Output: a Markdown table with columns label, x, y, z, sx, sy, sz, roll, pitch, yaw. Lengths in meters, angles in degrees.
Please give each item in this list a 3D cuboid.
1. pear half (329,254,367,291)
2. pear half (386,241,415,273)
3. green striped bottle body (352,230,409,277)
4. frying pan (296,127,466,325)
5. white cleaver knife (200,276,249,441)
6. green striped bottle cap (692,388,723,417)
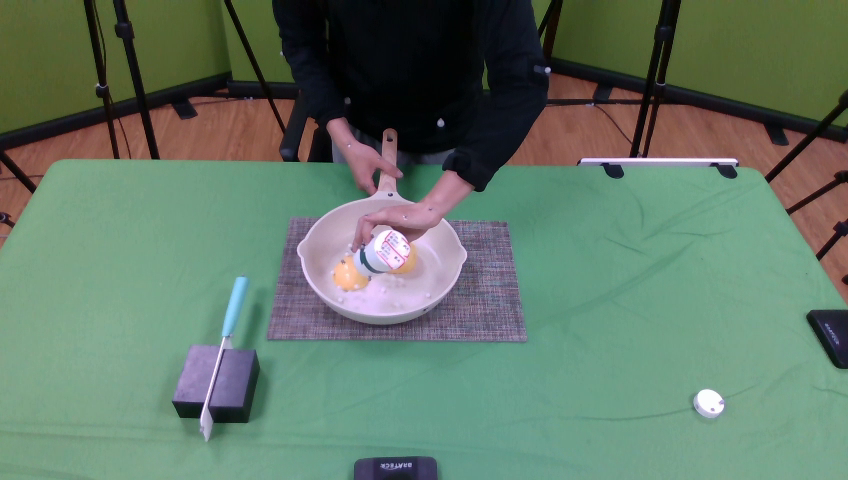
| label | x | y | z | sx | sy | sz | roll | pitch | yaw |
| --- | --- | --- | --- | --- | --- | --- | --- | --- | --- |
| pear half | -0.140 | 0.052 | 1.121 | 0.070 | 0.031 | 0.087 | -7 | 52 | -17 |
| pear half | -0.074 | 0.017 | 1.146 | 0.110 | 0.056 | 0.076 | 10 | 41 | 6 |
| green striped bottle body | -0.078 | 0.026 | 1.010 | 0.063 | 0.119 | 0.063 | 8 | 73 | -28 |
| frying pan | -0.076 | -0.045 | 1.172 | 0.307 | 0.103 | 0.485 | 3 | 55 | -2 |
| white cleaver knife | -0.321 | 0.177 | 0.972 | 0.021 | 0.066 | 0.284 | 6 | 48 | -5 |
| green striped bottle cap | 0.460 | 0.263 | 0.984 | 0.044 | 0.020 | 0.044 | 3 | 47 | -3 |
